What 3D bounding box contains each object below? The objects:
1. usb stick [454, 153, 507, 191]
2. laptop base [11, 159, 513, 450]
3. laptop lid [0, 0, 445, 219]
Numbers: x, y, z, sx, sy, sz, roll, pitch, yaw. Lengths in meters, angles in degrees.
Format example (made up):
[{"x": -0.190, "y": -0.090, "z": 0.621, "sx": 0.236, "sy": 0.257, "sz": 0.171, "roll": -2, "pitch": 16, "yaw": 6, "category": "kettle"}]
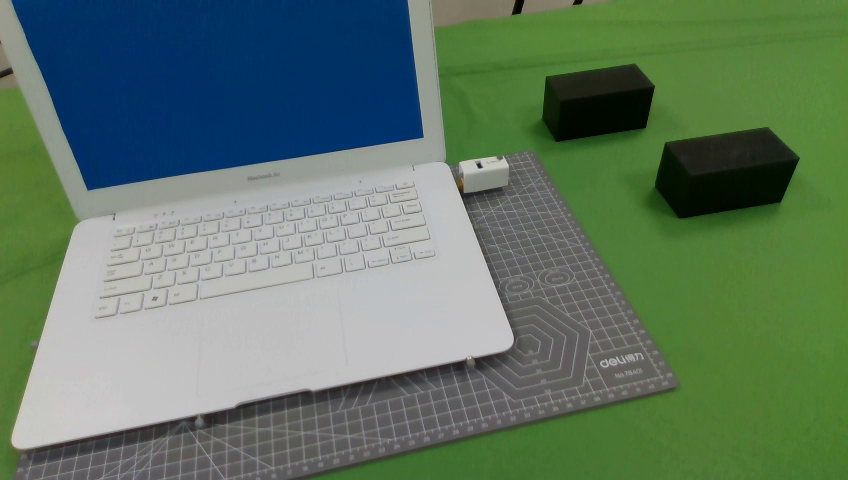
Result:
[{"x": 0.048, "y": -0.063, "z": 0.576, "sx": 0.059, "sy": 0.027, "sz": 0.021, "roll": -12, "pitch": 45, "yaw": -5, "category": "usb stick"}, {"x": -0.127, "y": 0.034, "z": 0.505, "sx": 0.355, "sy": 0.023, "sz": 0.233, "roll": -10, "pitch": 47, "yaw": -7, "category": "laptop base"}, {"x": -0.163, "y": -0.147, "z": 0.530, "sx": 0.357, "sy": 0.243, "sz": 0.013, "roll": -12, "pitch": 30, "yaw": -6, "category": "laptop lid"}]
